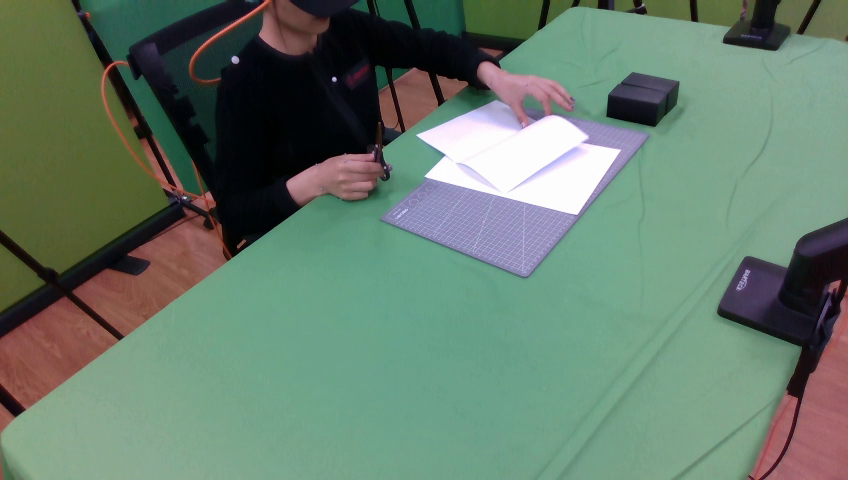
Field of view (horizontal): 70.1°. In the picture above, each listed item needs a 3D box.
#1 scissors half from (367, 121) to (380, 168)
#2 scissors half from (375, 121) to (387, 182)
[{"bbox_3d":[-0.085,-0.168,1.048,0.013,0.175,0.040,-28,83,-13],"label":"scissors half"},{"bbox_3d":[-0.077,-0.151,1.043,0.013,0.176,0.040,-23,65,-11],"label":"scissors half"}]
